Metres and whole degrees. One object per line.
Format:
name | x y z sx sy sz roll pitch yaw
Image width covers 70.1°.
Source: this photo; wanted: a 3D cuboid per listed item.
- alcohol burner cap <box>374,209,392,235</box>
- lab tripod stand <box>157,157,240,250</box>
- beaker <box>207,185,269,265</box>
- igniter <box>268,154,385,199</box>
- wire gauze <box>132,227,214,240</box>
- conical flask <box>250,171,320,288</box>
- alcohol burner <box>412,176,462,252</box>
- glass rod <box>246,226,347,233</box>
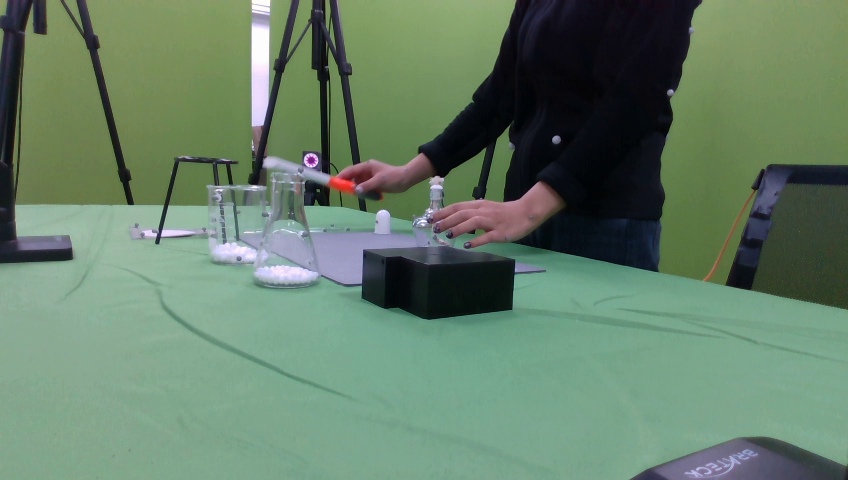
alcohol burner cap | -0.078 -0.036 1.148 0.034 0.048 0.034 2 7 0
lab tripod stand | -0.322 -0.057 0.905 0.148 0.131 0.148 4 7 0
beaker | -0.244 -0.021 0.784 0.083 0.100 0.074 6 8 30
igniter | -0.178 -0.119 1.170 0.057 0.025 0.278 13 -2 40
wire gauze | -0.425 -0.013 1.018 0.122 0.011 0.124 -1 6 -28
conical flask | -0.150 -0.013 0.658 0.075 0.122 0.075 2 7 0
alcohol burner | 0.020 -0.041 0.948 0.078 0.119 0.078 0 7 0
glass rod | -0.236 -0.021 1.140 0.201 0.008 0.008 -3 8 -33
